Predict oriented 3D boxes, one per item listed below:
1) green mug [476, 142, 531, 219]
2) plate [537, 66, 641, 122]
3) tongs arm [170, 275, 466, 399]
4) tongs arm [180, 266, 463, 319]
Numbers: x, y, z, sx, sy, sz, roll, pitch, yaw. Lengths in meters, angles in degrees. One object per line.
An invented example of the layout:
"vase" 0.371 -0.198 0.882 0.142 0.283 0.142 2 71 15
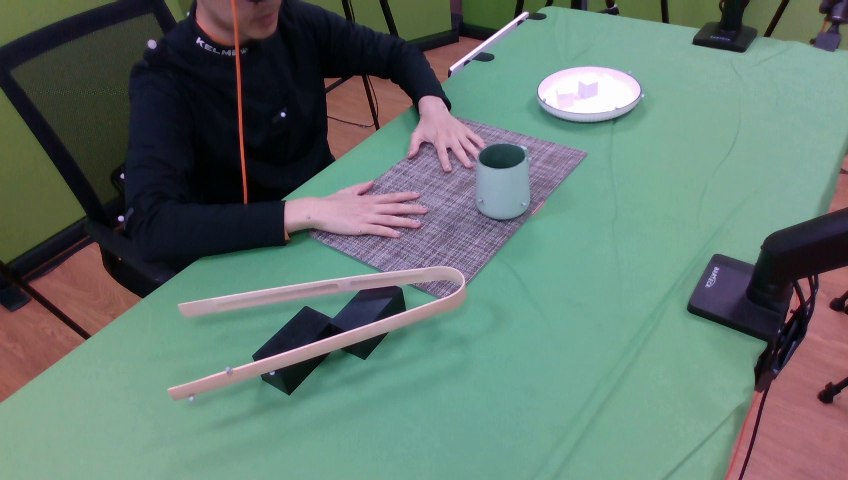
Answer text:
"green mug" 0.140 -0.106 1.002 0.092 0.105 0.125 21 48 30
"plate" 0.338 -0.299 1.255 0.209 0.038 0.208 -4 41 4
"tongs arm" -0.122 0.120 0.768 0.386 0.026 0.050 -16 38 -10
"tongs arm" -0.139 0.073 0.828 0.388 0.028 0.028 -8 34 0
